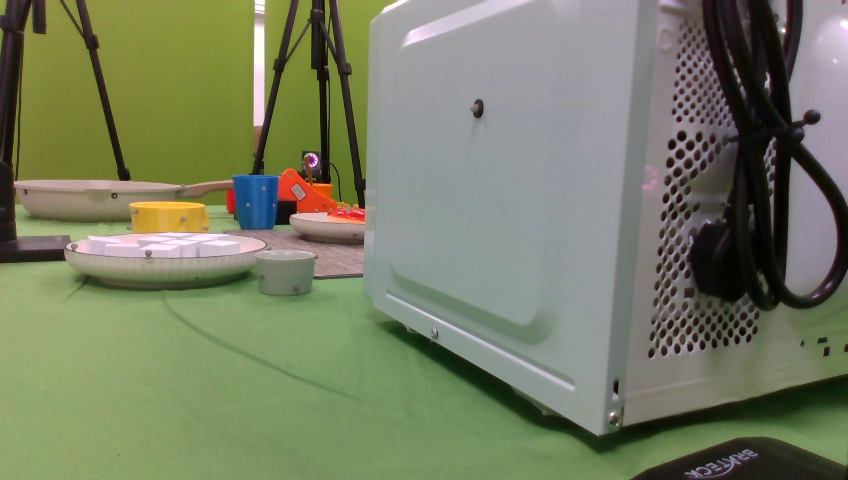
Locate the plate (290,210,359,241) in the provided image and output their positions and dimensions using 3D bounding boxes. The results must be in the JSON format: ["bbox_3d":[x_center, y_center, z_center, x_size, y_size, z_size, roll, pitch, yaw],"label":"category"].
[{"bbox_3d":[-0.127,-0.026,1.051,0.209,0.038,0.209,2,7,0],"label":"plate"}]

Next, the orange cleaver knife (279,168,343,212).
[{"bbox_3d":[-0.236,-0.084,1.333,0.212,0.077,0.012,31,-9,-32],"label":"orange cleaver knife"}]

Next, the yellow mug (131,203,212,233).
[{"bbox_3d":[-0.356,-0.020,0.878,0.099,0.064,0.131,5,7,22],"label":"yellow mug"}]

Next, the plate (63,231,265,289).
[{"bbox_3d":[-0.288,0.021,0.687,0.208,0.039,0.207,2,8,0],"label":"plate"}]

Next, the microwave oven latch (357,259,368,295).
[{"bbox_3d":[-0.019,0.031,0.529,0.079,0.029,0.030,-1,7,-27],"label":"microwave oven latch"}]

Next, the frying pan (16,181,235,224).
[{"bbox_3d":[-0.554,-0.097,1.266,0.490,0.102,0.305,-10,13,-24],"label":"frying pan"}]

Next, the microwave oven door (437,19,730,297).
[{"bbox_3d":[0.181,-0.076,0.618,0.358,0.243,0.039,-2,9,-28],"label":"microwave oven door"}]

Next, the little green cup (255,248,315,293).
[{"bbox_3d":[-0.144,0.031,0.627,0.061,0.038,0.061,2,6,0],"label":"little green cup"}]

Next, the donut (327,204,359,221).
[{"bbox_3d":[-0.120,-0.037,1.056,0.099,0.048,0.099,5,7,0],"label":"donut"}]

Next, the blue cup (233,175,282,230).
[{"bbox_3d":[-0.314,-0.071,1.141,0.093,0.100,0.092,0,7,0],"label":"blue cup"}]

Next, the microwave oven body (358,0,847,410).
[{"bbox_3d":[0.210,-0.051,0.471,0.444,0.260,0.324,-1,7,-28],"label":"microwave oven body"}]

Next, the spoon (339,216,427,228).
[{"bbox_3d":[-0.087,-0.041,1.268,0.193,0.021,0.041,4,25,13],"label":"spoon"}]

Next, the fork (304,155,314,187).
[{"bbox_3d":[-0.268,-0.134,1.446,0.028,0.018,0.207,2,-36,-1],"label":"fork"}]

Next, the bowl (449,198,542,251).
[{"bbox_3d":[0.114,-0.025,0.988,0.151,0.077,0.151,2,7,0],"label":"bowl"}]
